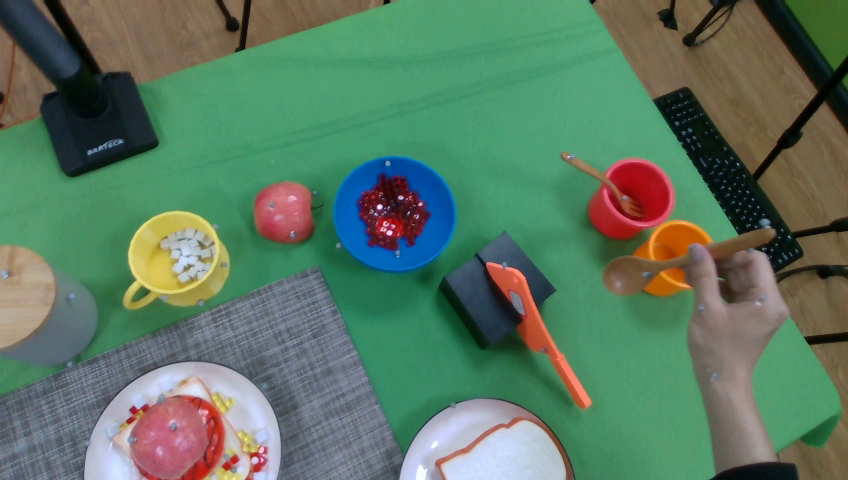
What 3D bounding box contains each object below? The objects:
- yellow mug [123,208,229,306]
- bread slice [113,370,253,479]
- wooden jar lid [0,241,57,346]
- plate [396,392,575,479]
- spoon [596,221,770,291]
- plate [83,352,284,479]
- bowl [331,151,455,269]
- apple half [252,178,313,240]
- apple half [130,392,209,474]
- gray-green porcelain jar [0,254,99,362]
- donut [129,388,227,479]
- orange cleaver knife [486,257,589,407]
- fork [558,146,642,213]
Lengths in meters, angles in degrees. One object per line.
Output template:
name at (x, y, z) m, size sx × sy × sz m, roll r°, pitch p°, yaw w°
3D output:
yellow mug at (-0.301, 0.030, 0.719) m, size 0.099 × 0.064 × 0.130 m, roll 42°, pitch 73°, yaw 7°
bread slice at (-0.256, 0.227, 0.671) m, size 0.107 × 0.018 × 0.134 m, roll -41°, pitch 83°, yaw -17°
wooden jar lid at (-0.418, 0.054, 0.595) m, size 0.108 × 0.021 × 0.107 m, roll 3°, pitch 69°, yaw -8°
plate at (0.070, 0.283, 0.700) m, size 0.209 × 0.038 × 0.208 m, roll 2°, pitch 72°, yaw -6°
spoon at (0.234, 0.016, 0.570) m, size 0.022 × 0.193 × 0.041 m, roll -16°, pitch 84°, yaw -27°
plate at (-0.259, 0.230, 0.669) m, size 0.208 × 0.039 × 0.206 m, roll 2°, pitch 72°, yaw -7°
bowl at (-0.041, -0.027, 0.765) m, size 0.152 × 0.077 × 0.150 m, roll 2°, pitch 72°, yaw -7°
apple half at (-0.180, -0.045, 0.766) m, size 0.075 × 0.053 × 0.080 m, roll -2°, pitch 72°, yaw -6°
apple half at (-0.260, 0.196, 0.613) m, size 0.081 × 0.033 × 0.081 m, roll 0°, pitch 71°, yaw 0°
gray-green porcelain jar at (-0.425, 0.074, 0.655) m, size 0.106 × 0.127 × 0.105 m, roll 2°, pitch 71°, yaw -7°
donut at (-0.261, 0.208, 0.646) m, size 0.099 × 0.048 × 0.098 m, roll 2°, pitch 72°, yaw -6°
orange cleaver knife at (0.137, 0.112, 0.741) m, size 0.012 × 0.077 × 0.212 m, roll -33°, pitch 100°, yaw -21°
fork at (0.231, -0.076, 0.782) m, size 0.209 × 0.018 × 0.028 m, roll 25°, pitch 62°, yaw -44°
